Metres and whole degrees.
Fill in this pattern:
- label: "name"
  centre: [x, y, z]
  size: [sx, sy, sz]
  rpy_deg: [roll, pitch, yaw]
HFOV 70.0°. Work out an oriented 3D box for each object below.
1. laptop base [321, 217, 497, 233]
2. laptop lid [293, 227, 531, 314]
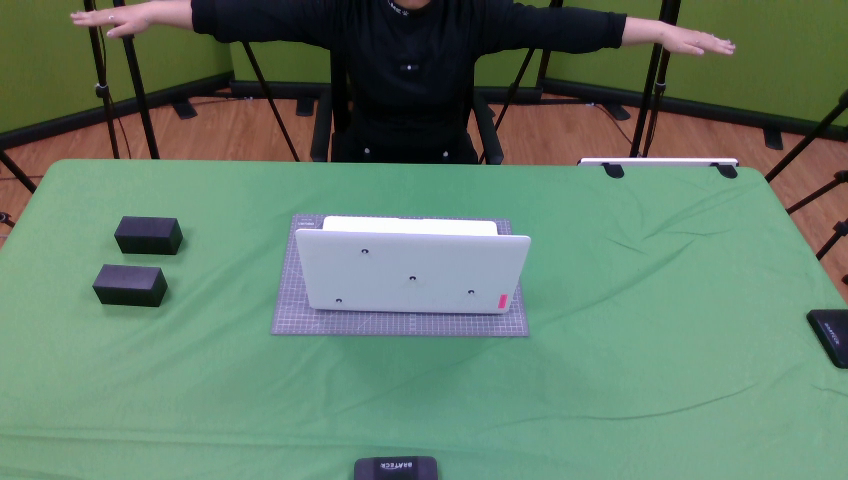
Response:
- label: "laptop base"
  centre: [-0.028, 0.044, 1.154]
  size: [0.354, 0.023, 0.234]
  rpy_deg: [2, 43, -3]
- label: "laptop lid"
  centre: [-0.021, 0.057, 0.976]
  size: [0.357, 0.243, 0.013]
  rpy_deg: [2, 53, -4]
